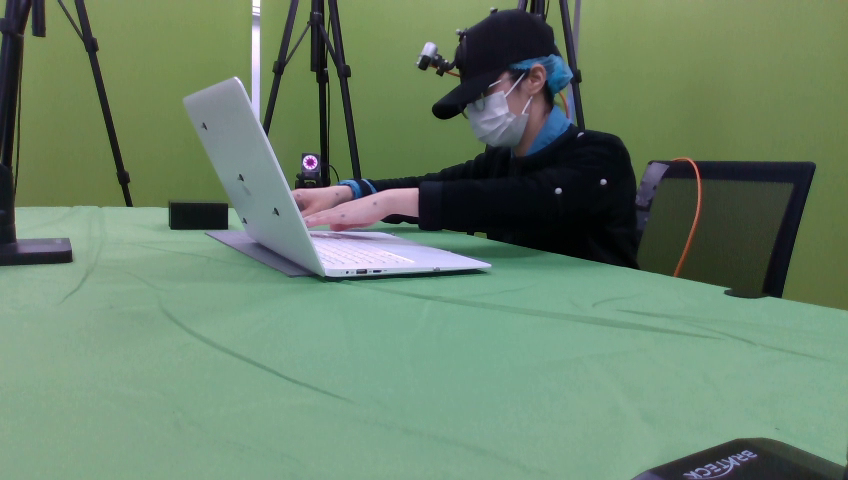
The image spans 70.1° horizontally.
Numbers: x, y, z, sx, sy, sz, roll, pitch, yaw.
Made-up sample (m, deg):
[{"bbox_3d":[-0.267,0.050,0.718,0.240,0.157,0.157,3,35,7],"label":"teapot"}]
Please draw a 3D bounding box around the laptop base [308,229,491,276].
[{"bbox_3d":[-0.094,0.015,0.888,0.237,0.023,0.352,2,7,-30],"label":"laptop base"}]

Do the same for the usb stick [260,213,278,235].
[{"bbox_3d":[-0.259,-0.025,1.016,0.021,0.027,0.059,0,20,-26],"label":"usb stick"}]

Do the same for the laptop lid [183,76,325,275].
[{"bbox_3d":[-0.237,-0.085,0.791,0.013,0.242,0.355,-30,23,-23],"label":"laptop lid"}]
